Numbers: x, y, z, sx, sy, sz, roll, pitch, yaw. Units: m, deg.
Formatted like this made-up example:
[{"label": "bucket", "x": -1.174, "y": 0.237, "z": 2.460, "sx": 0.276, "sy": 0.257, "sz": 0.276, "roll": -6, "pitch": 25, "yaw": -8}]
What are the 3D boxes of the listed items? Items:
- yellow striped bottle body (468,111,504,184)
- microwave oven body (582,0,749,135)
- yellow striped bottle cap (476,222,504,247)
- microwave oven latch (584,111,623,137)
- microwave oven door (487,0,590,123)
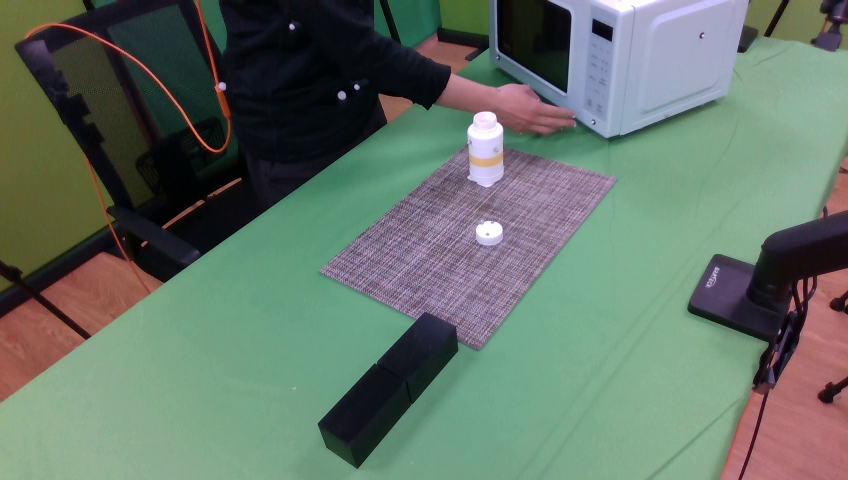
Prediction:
[{"label": "yellow striped bottle body", "x": 0.109, "y": -0.164, "z": 1.064, "sx": 0.063, "sy": 0.121, "sz": 0.062, "roll": -4, "pitch": 41, "yaw": 4}, {"label": "microwave oven body", "x": 0.382, "y": -0.444, "z": 1.246, "sx": 0.327, "sy": 0.261, "sz": 0.437, "roll": -22, "pitch": 42, "yaw": -16}, {"label": "yellow striped bottle cap", "x": 0.105, "y": -0.010, "z": 0.966, "sx": 0.044, "sy": 0.019, "sz": 0.044, "roll": -3, "pitch": 39, "yaw": 3}, {"label": "microwave oven latch", "x": 0.337, "y": -0.222, "z": 1.142, "sx": 0.030, "sy": 0.029, "sz": 0.078, "roll": -21, "pitch": 42, "yaw": -14}, {"label": "microwave oven door", "x": 0.231, "y": -0.420, "z": 1.230, "sx": 0.039, "sy": 0.245, "sz": 0.352, "roll": -22, "pitch": 43, "yaw": -16}]
